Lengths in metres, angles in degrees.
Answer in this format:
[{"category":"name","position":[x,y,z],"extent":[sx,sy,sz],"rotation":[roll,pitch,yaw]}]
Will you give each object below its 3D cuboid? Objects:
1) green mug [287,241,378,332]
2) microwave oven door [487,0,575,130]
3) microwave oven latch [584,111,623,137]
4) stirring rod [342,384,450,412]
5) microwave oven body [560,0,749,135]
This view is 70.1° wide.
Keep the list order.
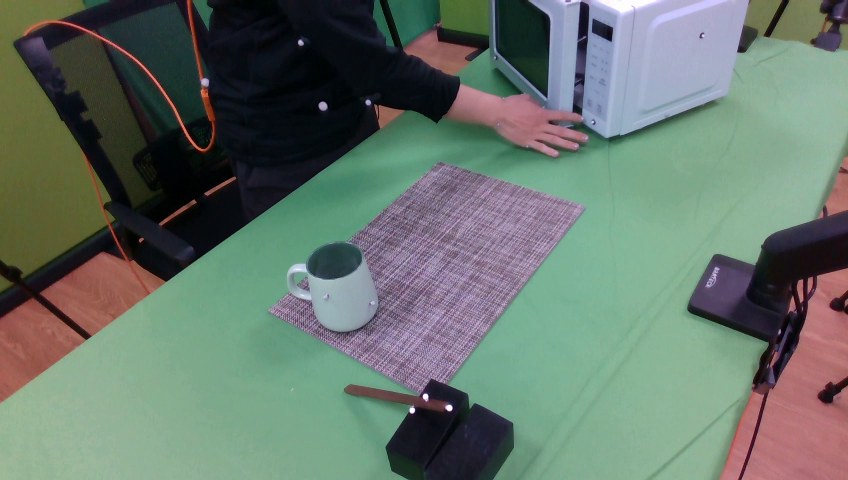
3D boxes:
[{"category":"green mug","position":[-0.131,0.065,0.843],"extent":[0.125,0.105,0.092],"rotation":[3,42,12]},{"category":"microwave oven door","position":[0.209,-0.412,1.225],"extent":[0.039,0.245,0.353],"rotation":[-16,41,-10]},{"category":"microwave oven latch","position":[0.337,-0.222,1.142],"extent":[0.030,0.029,0.078],"rotation":[-21,42,-14]},{"category":"stirring rod","position":[-0.038,0.186,0.714],"extent":[0.175,0.006,0.014],"rotation":[-3,22,43]},{"category":"microwave oven body","position":[0.382,-0.444,1.246],"extent":[0.327,0.261,0.437],"rotation":[-22,42,-16]}]
